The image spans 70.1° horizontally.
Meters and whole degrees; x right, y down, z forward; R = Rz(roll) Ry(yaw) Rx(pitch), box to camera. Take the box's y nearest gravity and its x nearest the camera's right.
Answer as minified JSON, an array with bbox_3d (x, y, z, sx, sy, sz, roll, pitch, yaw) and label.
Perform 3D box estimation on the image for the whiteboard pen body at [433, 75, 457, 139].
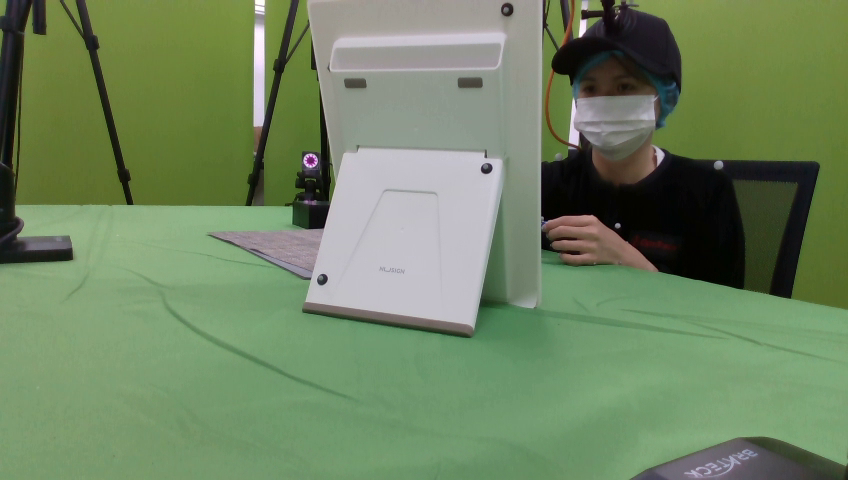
[{"bbox_3d":[0.021,-0.137,0.622,0.017,0.017,0.140,3,37,6],"label":"whiteboard pen body"}]

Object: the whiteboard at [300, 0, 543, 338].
[{"bbox_3d":[-0.020,-0.050,0.523,0.216,0.305,0.144,6,28,22],"label":"whiteboard"}]

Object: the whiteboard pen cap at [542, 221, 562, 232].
[{"bbox_3d":[0.194,-0.021,0.926,0.033,0.018,0.018,1,6,36],"label":"whiteboard pen cap"}]
